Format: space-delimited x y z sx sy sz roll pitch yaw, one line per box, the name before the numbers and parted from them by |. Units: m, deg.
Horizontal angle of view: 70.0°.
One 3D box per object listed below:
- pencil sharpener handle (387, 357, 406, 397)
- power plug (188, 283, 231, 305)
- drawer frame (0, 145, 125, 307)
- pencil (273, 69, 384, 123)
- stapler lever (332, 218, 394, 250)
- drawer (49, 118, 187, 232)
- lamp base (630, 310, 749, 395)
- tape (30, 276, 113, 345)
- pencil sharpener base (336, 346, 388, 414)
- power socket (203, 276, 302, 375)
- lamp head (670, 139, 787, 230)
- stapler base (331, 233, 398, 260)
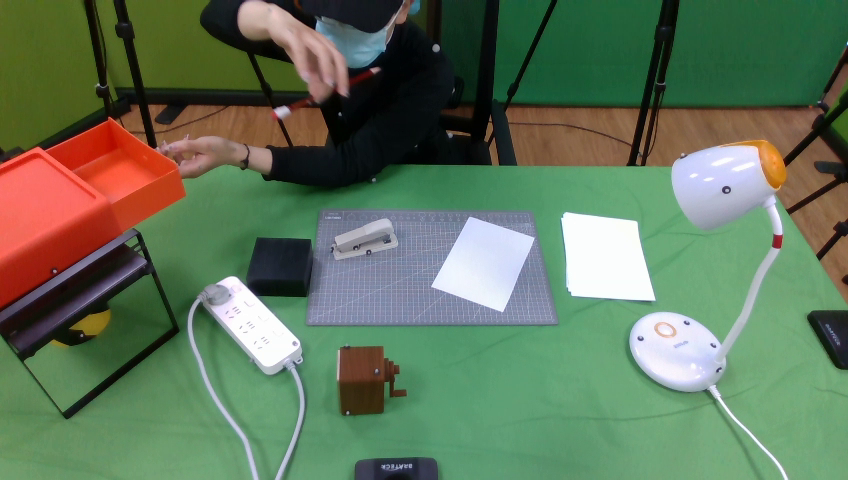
pencil sharpener handle | -0.041 0.209 0.919 0.031 0.068 0.036 -1 25 -6
power plug | -0.368 0.099 1.037 0.072 0.053 0.035 -23 52 -25
drawer frame | -0.596 -0.023 0.886 0.201 0.083 0.213 31 52 22
pencil | -0.148 -0.229 0.951 0.194 0.012 0.012 -29 54 -13
stapler lever | -0.116 -0.012 1.162 0.118 0.040 0.026 -13 47 -14
drawer | -0.523 -0.085 0.955 0.193 0.073 0.211 32 53 24
lamp base | 0.447 0.143 0.984 0.161 0.181 0.178 -24 55 -24
tape | -0.594 0.118 1.022 0.117 0.053 0.116 2 45 -2
pencil sharpener base | -0.093 0.215 0.927 0.077 0.107 0.061 -1 46 -6
power socket | -0.297 0.141 1.034 0.072 0.033 0.225 -34 58 -30
lamp head | 0.415 -0.079 0.812 0.113 0.123 0.112 13 70 -37
stapler base | -0.116 0.004 1.181 0.131 0.024 0.041 -13 47 -14
